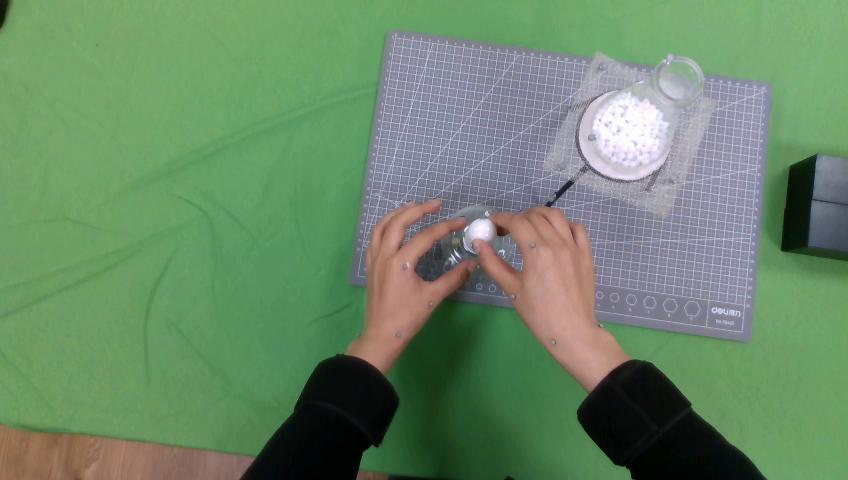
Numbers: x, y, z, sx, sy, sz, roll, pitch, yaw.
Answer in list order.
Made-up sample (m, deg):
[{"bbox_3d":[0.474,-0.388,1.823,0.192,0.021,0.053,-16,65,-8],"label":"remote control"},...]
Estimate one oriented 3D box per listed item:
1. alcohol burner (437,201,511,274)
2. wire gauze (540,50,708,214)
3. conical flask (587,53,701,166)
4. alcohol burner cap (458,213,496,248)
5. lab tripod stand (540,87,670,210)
[{"bbox_3d":[0.053,-0.004,0.623,0.078,0.119,0.077,0,85,0],"label":"alcohol burner"},{"bbox_3d":[0.187,-0.100,0.559,0.121,0.011,0.125,25,82,1],"label":"wire gauze"},{"bbox_3d":[0.185,-0.111,0.501,0.075,0.122,0.075,0,83,1],"label":"conical flask"},{"bbox_3d":[0.053,-0.011,0.590,0.034,0.048,0.034,1,85,-7],"label":"alcohol burner cap"},{"bbox_3d":[0.181,-0.095,0.625,0.148,0.132,0.148,0,83,1],"label":"lab tripod stand"}]
